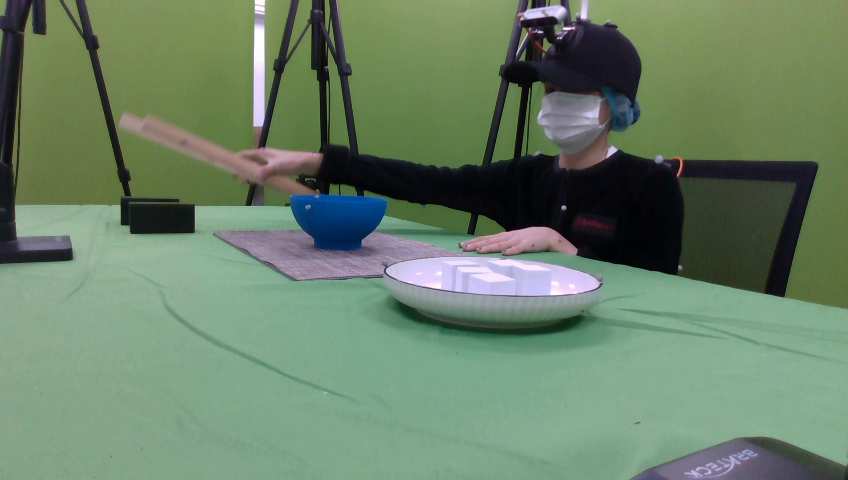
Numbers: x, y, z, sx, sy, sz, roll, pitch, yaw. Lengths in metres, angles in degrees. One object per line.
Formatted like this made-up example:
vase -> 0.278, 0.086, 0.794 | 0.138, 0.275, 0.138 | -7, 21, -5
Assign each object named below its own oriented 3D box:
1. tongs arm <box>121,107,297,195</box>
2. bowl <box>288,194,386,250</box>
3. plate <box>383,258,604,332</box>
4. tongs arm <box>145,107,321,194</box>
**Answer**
tongs arm -> -0.368, -0.151, 1.143 | 0.387, 0.026, 0.050 | 25, -10, -40
bowl -> -0.135, -0.027, 0.936 | 0.151, 0.077, 0.151 | 3, 7, 0
plate -> 0.064, 0.051, 0.582 | 0.209, 0.038, 0.209 | 3, 7, 0
tongs arm -> -0.322, -0.140, 1.093 | 0.028, 0.028, 0.390 | 8, -12, 39
